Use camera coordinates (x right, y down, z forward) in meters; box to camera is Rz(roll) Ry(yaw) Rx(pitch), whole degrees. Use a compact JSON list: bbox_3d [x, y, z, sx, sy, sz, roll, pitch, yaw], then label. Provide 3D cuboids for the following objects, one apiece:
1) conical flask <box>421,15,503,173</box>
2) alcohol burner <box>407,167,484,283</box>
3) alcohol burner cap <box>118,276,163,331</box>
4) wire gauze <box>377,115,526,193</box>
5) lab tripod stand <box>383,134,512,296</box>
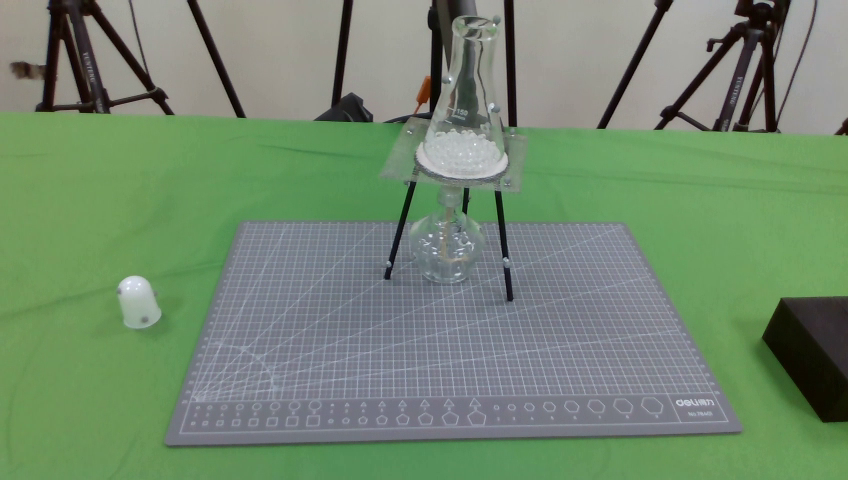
[{"bbox_3d":[0.037,-0.125,0.519,0.075,0.123,0.074,3,37,-2],"label":"conical flask"},{"bbox_3d":[0.022,-0.017,0.601,0.078,0.120,0.077,1,34,-1],"label":"alcohol burner"},{"bbox_3d":[-0.257,0.055,0.546,0.034,0.048,0.033,2,36,-1],"label":"alcohol burner cap"},{"bbox_3d":[0.031,-0.079,0.557,0.121,0.011,0.124,9,39,7],"label":"wire gauze"},{"bbox_3d":[0.034,-0.025,0.596,0.148,0.132,0.147,4,36,-2],"label":"lab tripod stand"}]
